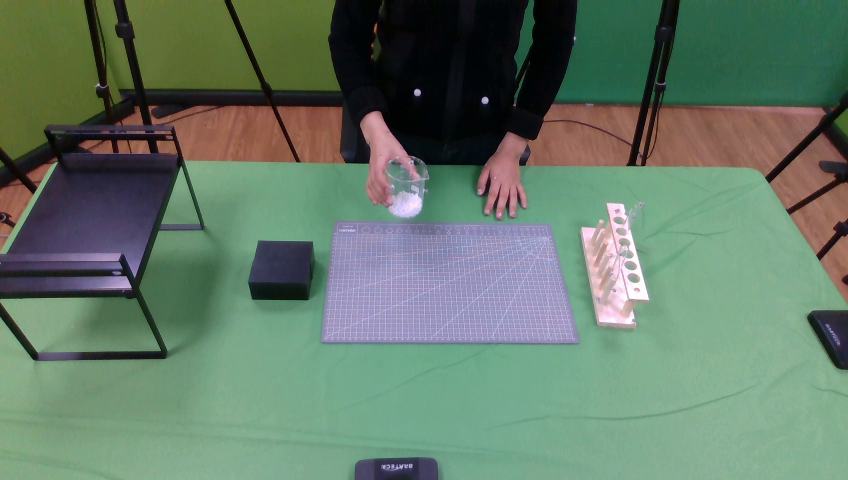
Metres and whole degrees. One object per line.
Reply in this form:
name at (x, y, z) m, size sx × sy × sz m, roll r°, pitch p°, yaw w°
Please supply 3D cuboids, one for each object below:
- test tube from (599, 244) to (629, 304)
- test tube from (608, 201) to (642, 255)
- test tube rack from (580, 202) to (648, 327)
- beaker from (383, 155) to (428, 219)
test tube at (0.331, 0.061, 1.059) m, size 0.017 × 0.151 × 0.017 m, roll 2°, pitch 46°, yaw -1°
test tube at (0.373, -0.019, 1.133) m, size 0.017 × 0.151 × 0.017 m, roll 3°, pitch 52°, yaw -4°
test tube rack at (0.352, 0.040, 1.143) m, size 0.067 × 0.085 × 0.241 m, roll 4°, pitch 46°, yaw -1°
beaker at (-0.034, -0.095, 1.118) m, size 0.084 × 0.101 × 0.073 m, roll 19°, pitch 49°, yaw 13°
